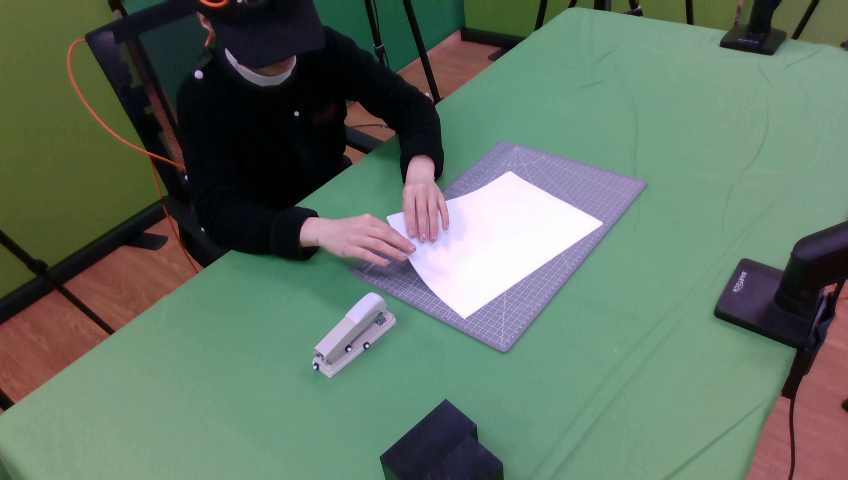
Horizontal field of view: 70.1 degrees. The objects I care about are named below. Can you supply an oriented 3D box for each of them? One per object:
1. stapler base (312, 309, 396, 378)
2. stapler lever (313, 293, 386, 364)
[{"bbox_3d":[-0.096,0.133,0.831,0.041,0.024,0.131,26,52,36],"label":"stapler base"},{"bbox_3d":[-0.099,0.116,0.814,0.026,0.040,0.118,26,51,36],"label":"stapler lever"}]
